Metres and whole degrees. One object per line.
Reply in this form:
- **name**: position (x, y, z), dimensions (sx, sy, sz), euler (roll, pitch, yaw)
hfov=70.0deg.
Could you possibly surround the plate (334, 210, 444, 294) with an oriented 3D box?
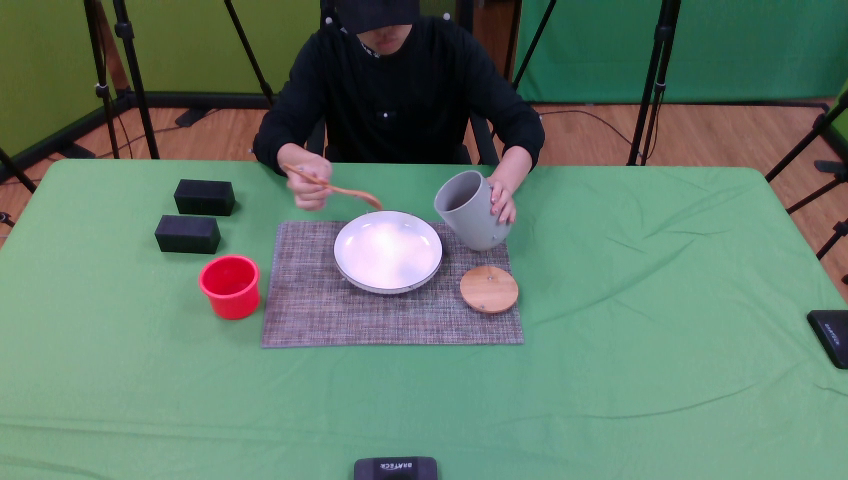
- **plate**: position (-0.066, 0.026, 1.150), dimensions (0.208, 0.039, 0.206), euler (2, 46, -2)

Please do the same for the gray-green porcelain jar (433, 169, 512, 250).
- **gray-green porcelain jar**: position (0.095, -0.051, 1.123), dimensions (0.106, 0.127, 0.105), euler (-27, 36, 22)

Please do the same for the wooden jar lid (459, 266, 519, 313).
- **wooden jar lid**: position (0.118, 0.093, 1.111), dimensions (0.108, 0.021, 0.107), euler (2, 47, -1)

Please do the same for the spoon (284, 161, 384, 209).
- **spoon**: position (-0.152, -0.093, 1.047), dimensions (0.194, 0.021, 0.041), euler (19, -4, -30)
